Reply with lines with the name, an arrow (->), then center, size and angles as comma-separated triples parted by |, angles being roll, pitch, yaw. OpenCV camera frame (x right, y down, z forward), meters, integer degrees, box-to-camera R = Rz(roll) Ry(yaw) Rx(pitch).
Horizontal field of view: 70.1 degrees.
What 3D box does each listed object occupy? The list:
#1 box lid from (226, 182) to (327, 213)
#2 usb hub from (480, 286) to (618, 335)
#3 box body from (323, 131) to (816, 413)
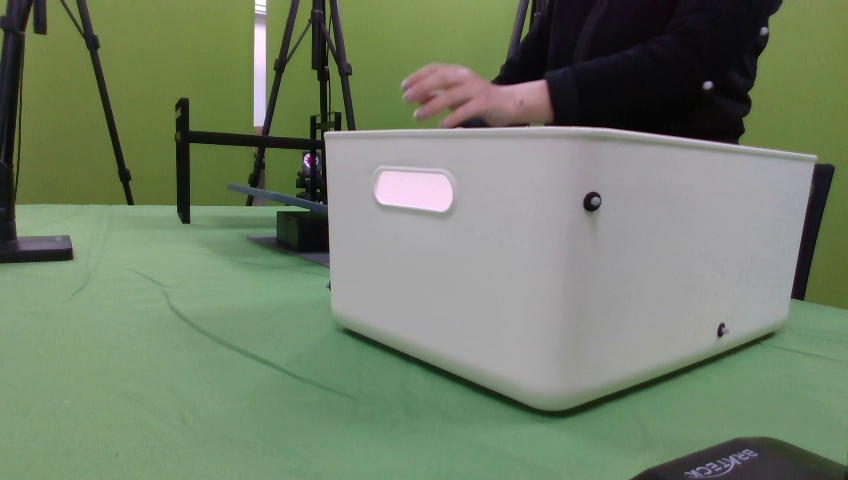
box lid -> -0.113, -0.038, 0.997 | 0.374, 0.015, 0.262 | 13, 1, -35
usb hub -> 0.110, 0.059, 0.526 | 0.126, 0.025, 0.049 | -2, 7, -36
box body -> 0.125, -0.001, 0.510 | 0.366, 0.160, 0.253 | -4, 10, -40
